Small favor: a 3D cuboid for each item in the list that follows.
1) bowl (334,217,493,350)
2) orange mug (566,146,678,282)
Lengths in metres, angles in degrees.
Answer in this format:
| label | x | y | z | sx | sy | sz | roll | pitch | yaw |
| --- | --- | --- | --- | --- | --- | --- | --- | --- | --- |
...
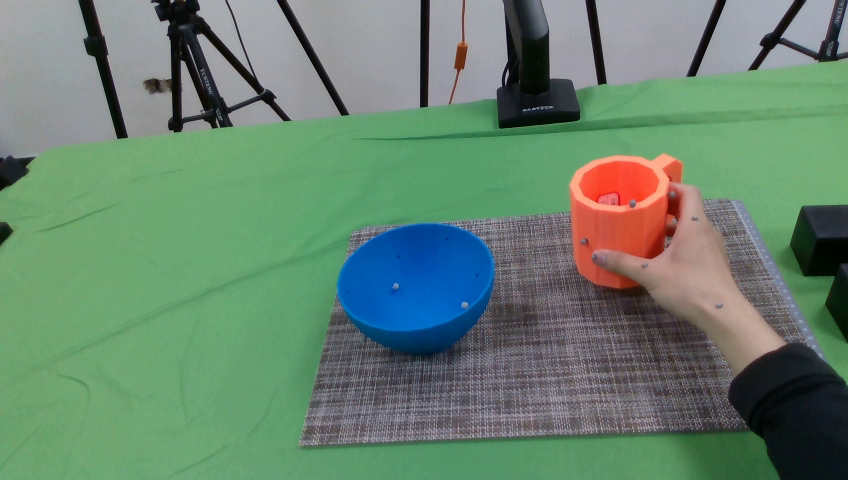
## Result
| label | x | y | z | sx | sy | sz | roll | pitch | yaw |
| --- | --- | --- | --- | --- | --- | --- | --- | --- | --- |
| bowl | -0.005 | 0.053 | 0.590 | 0.151 | 0.077 | 0.150 | -7 | 39 | 6 |
| orange mug | 0.198 | -0.034 | 0.587 | 0.126 | 0.102 | 0.082 | -36 | 44 | -16 |
